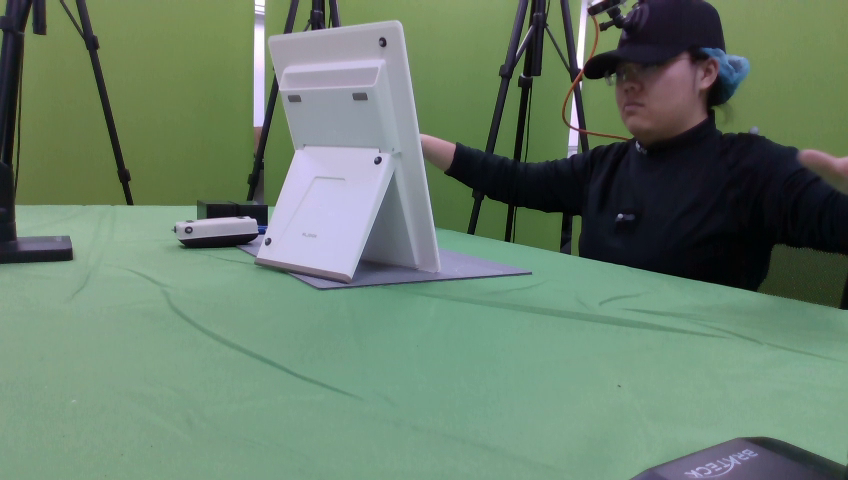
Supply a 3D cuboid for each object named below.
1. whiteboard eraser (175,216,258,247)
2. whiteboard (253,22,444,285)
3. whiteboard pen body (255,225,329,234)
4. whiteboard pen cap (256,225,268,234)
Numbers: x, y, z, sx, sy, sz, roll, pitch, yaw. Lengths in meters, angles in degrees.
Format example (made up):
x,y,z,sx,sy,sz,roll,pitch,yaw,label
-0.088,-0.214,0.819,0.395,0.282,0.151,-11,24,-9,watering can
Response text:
x,y,z,sx,sy,sz,roll,pitch,yaw,label
-0.313,-0.013,0.915,0.113,0.042,0.055,-5,12,-30,whiteboard eraser
-0.125,-0.081,0.715,0.216,0.305,0.144,9,29,36,whiteboard
-0.239,-0.019,1.105,0.141,0.017,0.017,-2,9,-34,whiteboard pen body
-0.288,-0.019,1.072,0.033,0.018,0.018,-4,10,-34,whiteboard pen cap
